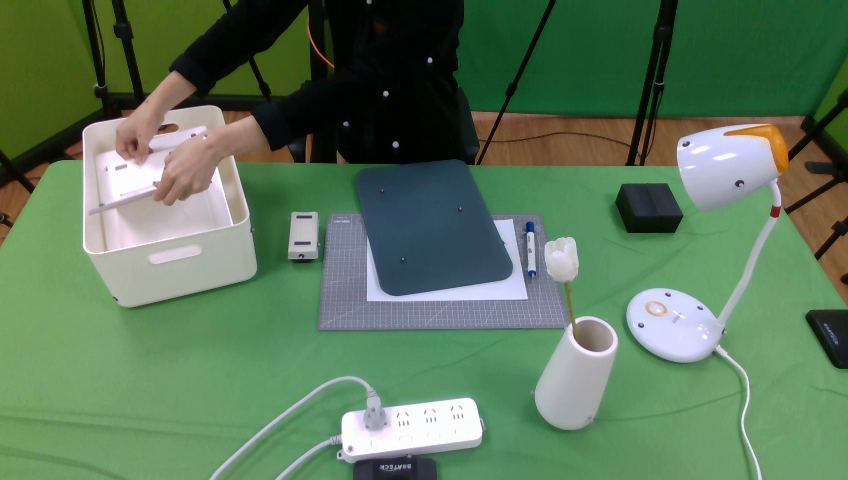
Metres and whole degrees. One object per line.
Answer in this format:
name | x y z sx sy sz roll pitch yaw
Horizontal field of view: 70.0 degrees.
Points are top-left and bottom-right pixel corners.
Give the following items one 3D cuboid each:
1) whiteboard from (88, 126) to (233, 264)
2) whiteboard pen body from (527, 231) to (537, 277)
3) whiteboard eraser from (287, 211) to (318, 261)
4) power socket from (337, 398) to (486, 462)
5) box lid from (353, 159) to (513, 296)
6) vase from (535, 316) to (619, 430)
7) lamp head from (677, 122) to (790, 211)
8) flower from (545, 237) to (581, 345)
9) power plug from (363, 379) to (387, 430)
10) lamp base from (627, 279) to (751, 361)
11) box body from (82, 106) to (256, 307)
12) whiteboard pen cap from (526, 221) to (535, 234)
whiteboard | -0.482 -0.110 1.062 0.217 0.144 0.303 -19 60 -10
whiteboard pen body | 0.211 0.018 1.191 0.017 0.017 0.140 6 44 1
whiteboard eraser | -0.234 -0.007 1.173 0.055 0.042 0.112 -3 47 -5
power socket | -0.018 0.285 0.914 0.227 0.033 0.071 -4 46 -8
box lid | 0.008 -0.039 1.242 0.264 0.015 0.369 -8 47 -12
vase | 0.229 0.200 0.901 0.098 0.201 0.097 3 46 -3
lamp head | 0.424 -0.104 0.819 0.122 0.113 0.112 -13 33 40
flower | 0.213 0.137 0.846 0.038 0.364 0.044 21 55 39
power plug | -0.071 0.252 0.911 0.035 0.053 0.072 3 40 0
lamp base | 0.460 0.100 1.027 0.178 0.181 0.160 27 51 17
box body | -0.471 -0.071 1.131 0.254 0.161 0.361 -14 49 -17
whiteboard pen cap | 0.216 -0.022 1.234 0.018 0.018 0.033 6 44 1
